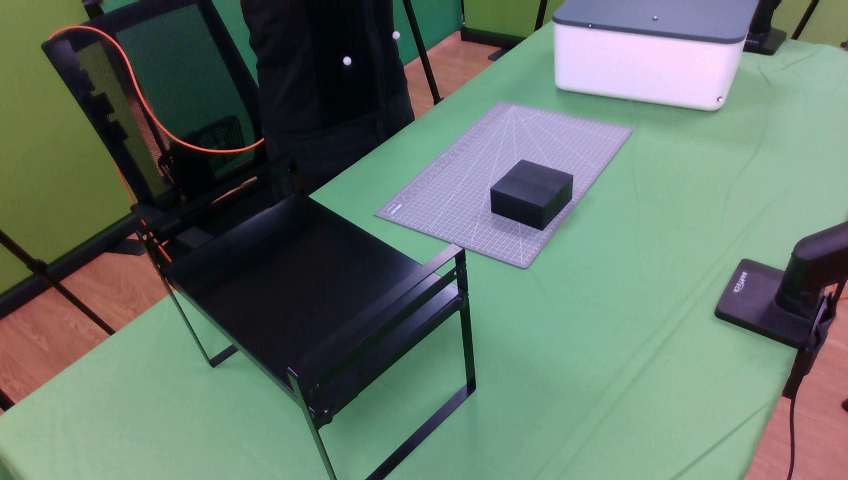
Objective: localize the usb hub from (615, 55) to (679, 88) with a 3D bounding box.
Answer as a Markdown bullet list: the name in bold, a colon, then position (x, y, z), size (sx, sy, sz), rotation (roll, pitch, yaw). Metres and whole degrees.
- **usb hub**: position (0.482, -0.367, 1.309), size (0.124, 0.025, 0.049), rotation (25, 48, 24)

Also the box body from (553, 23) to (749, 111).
- **box body**: position (0.480, -0.417, 1.282), size (0.362, 0.161, 0.254), rotation (16, 46, 25)

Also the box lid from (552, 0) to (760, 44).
- **box lid**: position (0.471, -0.473, 1.234), size (0.369, 0.015, 0.263), rotation (16, 45, 25)
